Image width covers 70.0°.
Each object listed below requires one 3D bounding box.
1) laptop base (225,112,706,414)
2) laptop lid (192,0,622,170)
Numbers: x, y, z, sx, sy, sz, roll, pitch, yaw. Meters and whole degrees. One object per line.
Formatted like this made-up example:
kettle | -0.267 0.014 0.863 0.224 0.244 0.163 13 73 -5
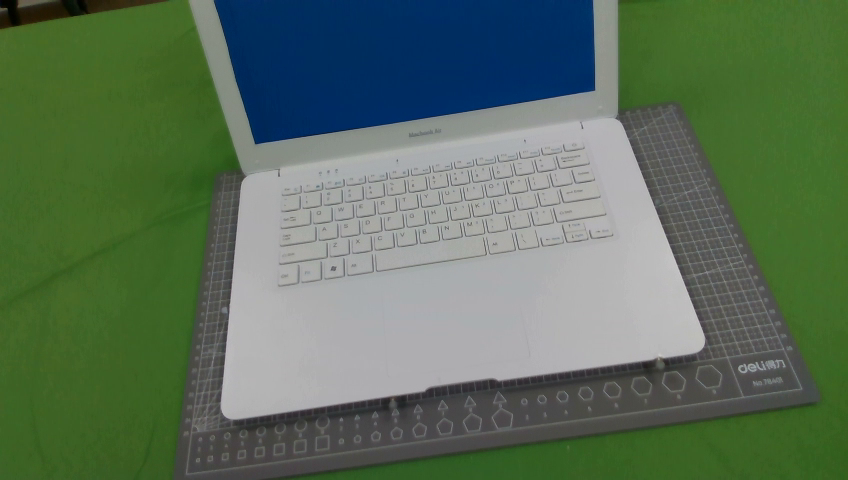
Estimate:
laptop base | 0.018 0.008 0.500 0.354 0.023 0.233 -9 59 2
laptop lid | -0.011 -0.189 0.510 0.357 0.243 0.013 -10 28 3
